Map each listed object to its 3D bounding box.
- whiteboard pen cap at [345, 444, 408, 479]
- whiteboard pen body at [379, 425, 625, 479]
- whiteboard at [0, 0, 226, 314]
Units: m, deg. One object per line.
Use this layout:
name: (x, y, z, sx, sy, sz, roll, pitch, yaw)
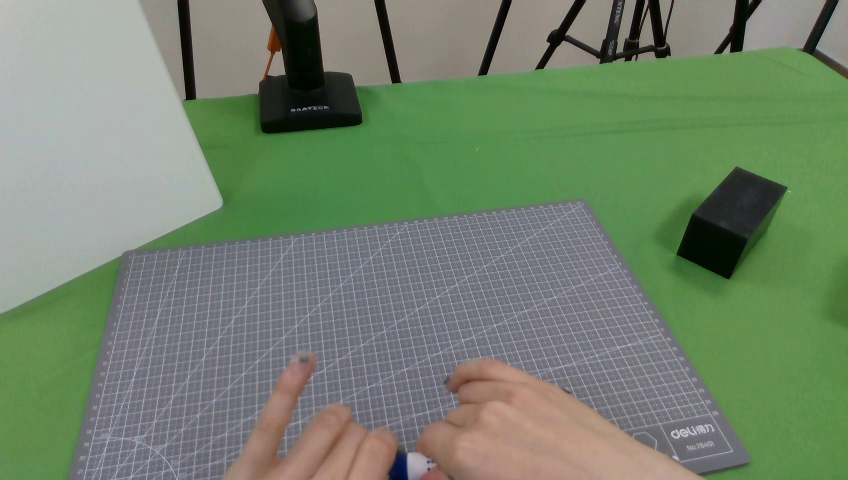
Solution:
whiteboard pen cap: (-0.024, 0.115, 0.318, 0.033, 0.018, 0.018, -6, 42, 0)
whiteboard pen body: (0.034, 0.113, 0.318, 0.141, 0.017, 0.017, -7, 42, 0)
whiteboard: (-0.355, -0.133, 0.533, 0.217, 0.308, 0.142, -33, 32, -31)
